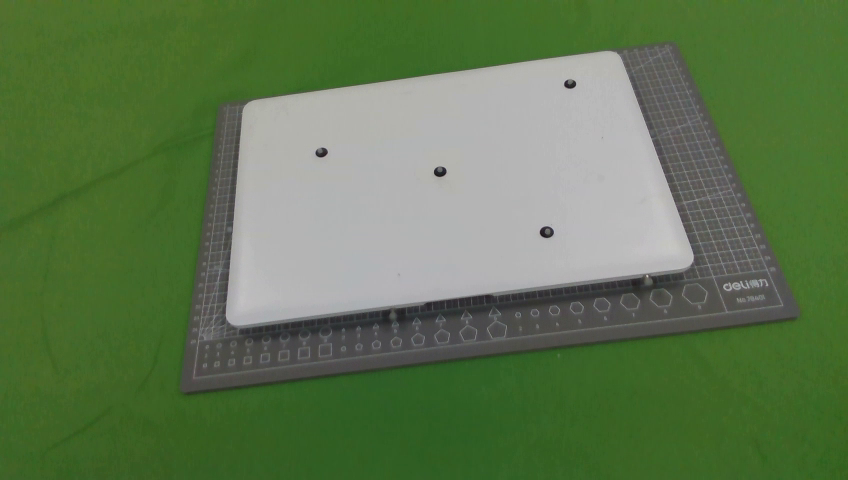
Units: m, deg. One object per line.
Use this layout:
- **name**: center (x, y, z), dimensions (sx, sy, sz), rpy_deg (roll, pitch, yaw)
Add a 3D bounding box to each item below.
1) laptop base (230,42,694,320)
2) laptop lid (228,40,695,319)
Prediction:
- **laptop base**: center (0.017, -0.058, 0.514), dimensions (0.354, 0.023, 0.233), rpy_deg (-7, 62, 2)
- **laptop lid**: center (0.016, -0.062, 0.503), dimensions (0.357, 0.013, 0.239), rpy_deg (-6, 60, 3)
